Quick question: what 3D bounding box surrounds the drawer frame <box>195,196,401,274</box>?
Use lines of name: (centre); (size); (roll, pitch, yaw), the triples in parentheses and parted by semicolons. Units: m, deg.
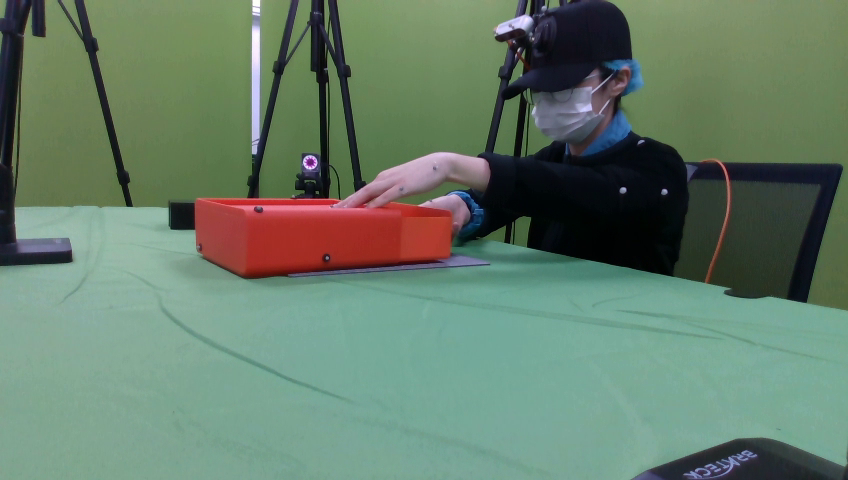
drawer frame: (-0.172, -0.015, 0.817); (0.215, 0.082, 0.200); (-4, 10, -36)

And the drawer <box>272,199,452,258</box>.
drawer: (-0.100, -0.018, 0.867); (0.213, 0.073, 0.193); (-3, 9, -35)

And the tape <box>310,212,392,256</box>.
tape: (-0.103, -0.011, 0.863); (0.117, 0.052, 0.117); (3, 7, 0)
